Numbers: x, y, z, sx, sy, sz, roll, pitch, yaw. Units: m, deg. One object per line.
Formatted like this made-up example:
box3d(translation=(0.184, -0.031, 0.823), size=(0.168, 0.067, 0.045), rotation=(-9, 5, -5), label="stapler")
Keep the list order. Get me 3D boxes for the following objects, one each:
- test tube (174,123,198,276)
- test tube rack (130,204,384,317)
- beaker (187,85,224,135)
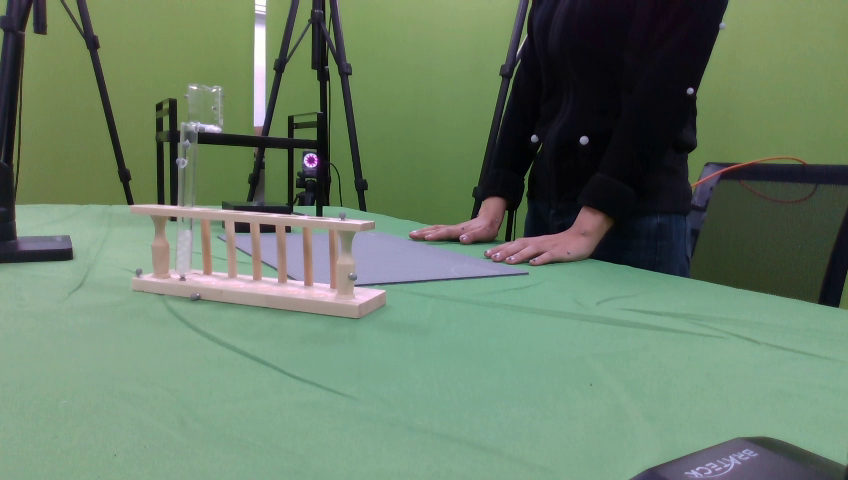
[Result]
box3d(translation=(-0.232, -0.038, 0.588), size=(0.017, 0.150, 0.017), rotation=(6, 9, -1), label="test tube")
box3d(translation=(-0.162, 0.013, 0.589), size=(0.242, 0.085, 0.067), rotation=(4, 8, 17), label="test tube rack")
box3d(translation=(-0.466, -0.276, 1.296), size=(0.074, 0.100, 0.083), rotation=(-3, 10, -35), label="beaker")
